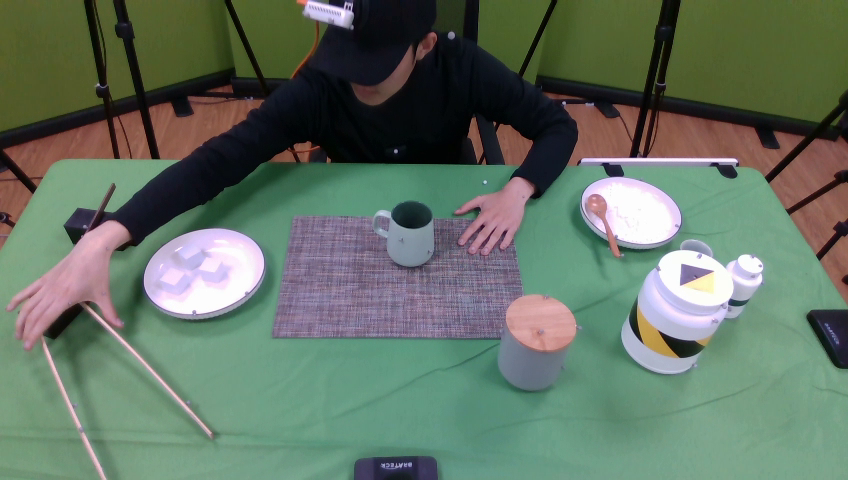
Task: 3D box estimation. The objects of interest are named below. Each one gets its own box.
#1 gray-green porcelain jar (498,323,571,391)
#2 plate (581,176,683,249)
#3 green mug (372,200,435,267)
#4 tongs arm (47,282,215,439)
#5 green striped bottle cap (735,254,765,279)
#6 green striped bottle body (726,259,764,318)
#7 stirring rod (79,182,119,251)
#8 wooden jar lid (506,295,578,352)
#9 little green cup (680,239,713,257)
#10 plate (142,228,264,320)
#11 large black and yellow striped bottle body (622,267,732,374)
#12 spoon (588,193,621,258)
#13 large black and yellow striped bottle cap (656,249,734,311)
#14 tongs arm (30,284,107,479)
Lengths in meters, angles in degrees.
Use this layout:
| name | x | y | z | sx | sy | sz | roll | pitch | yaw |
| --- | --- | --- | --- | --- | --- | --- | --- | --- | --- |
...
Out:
| name | x | y | z | sx | sy | sz | roll | pitch | yaw |
| --- | --- | --- | --- | --- | --- | --- | --- | --- | --- |
| gray-green porcelain jar | 0.176 | 0.172 | 0.971 | 0.106 | 0.127 | 0.105 | 2 | 46 | -2 |
| plate | 0.430 | -0.054 | 1.267 | 0.209 | 0.038 | 0.208 | 2 | 46 | -2 |
| green mug | -0.040 | -0.016 | 1.146 | 0.125 | 0.105 | 0.092 | 17 | 48 | 13 |
| tongs arm | -0.460 | 0.181 | 0.948 | 0.386 | 0.028 | 0.028 | 36 | 58 | 17 |
| green striped bottle cap | 0.566 | 0.046 | 1.051 | 0.044 | 0.020 | 0.044 | 1 | 45 | 0 |
| green striped bottle body | 0.563 | 0.081 | 1.089 | 0.063 | 0.120 | 0.063 | 2 | 46 | -2 |
| stirring rod | -0.605 | -0.047 | 1.130 | 0.006 | 0.014 | 0.175 | 0 | 47 | 2 |
| wooden jar lid | 0.179 | 0.129 | 0.926 | 0.108 | 0.021 | 0.107 | 2 | 43 | -2 |
| little green cup | 0.530 | 0.033 | 1.189 | 0.061 | 0.039 | 0.061 | 3 | 48 | -3 |
| plate | -0.394 | 0.064 | 1.095 | 0.208 | 0.039 | 0.206 | 2 | 46 | -2 |
| large black and yellow striped bottle body | 0.415 | 0.119 | 0.997 | 0.131 | 0.185 | 0.130 | 2 | 46 | -2 |
| spoon | 0.367 | -0.032 | 1.220 | 0.041 | 0.022 | 0.192 | 1 | 38 | -1 |
| large black and yellow striped bottle cap | 0.419 | 0.061 | 0.938 | 0.115 | 0.019 | 0.114 | 2 | 47 | -2 |
| tongs arm | -0.517 | 0.217 | 0.906 | 0.051 | 0.026 | 0.383 | -29 | 62 | -28 |
